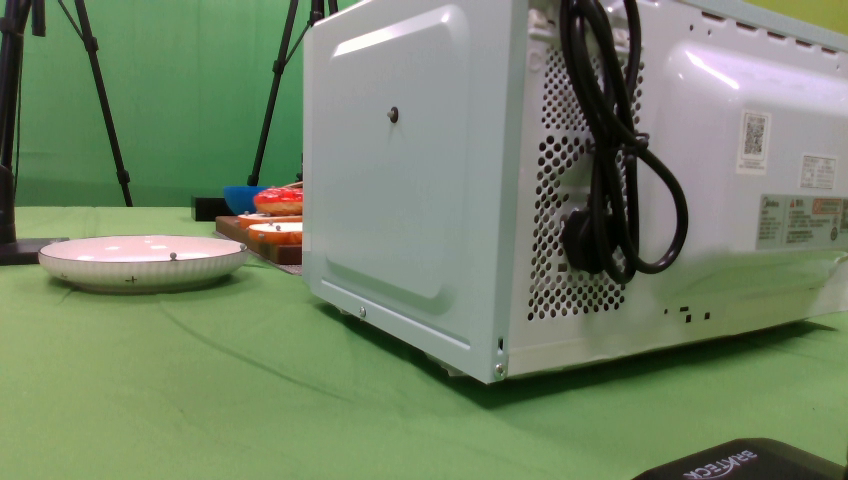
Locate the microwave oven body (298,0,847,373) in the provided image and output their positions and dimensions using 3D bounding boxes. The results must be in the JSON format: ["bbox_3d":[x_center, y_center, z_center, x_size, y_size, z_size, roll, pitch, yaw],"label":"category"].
[{"bbox_3d":[0.151,-0.055,0.542,0.444,0.260,0.324,-2,7,-33],"label":"microwave oven body"}]

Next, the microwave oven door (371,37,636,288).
[{"bbox_3d":[0.109,-0.080,0.686,0.358,0.243,0.039,-2,9,-33],"label":"microwave oven door"}]

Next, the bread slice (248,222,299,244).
[{"bbox_3d":[-0.174,-0.012,0.844,0.135,0.018,0.106,-6,10,-44],"label":"bread slice"}]

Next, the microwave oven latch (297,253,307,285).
[{"bbox_3d":[-0.082,0.027,0.582,0.079,0.029,0.030,-1,7,-32],"label":"microwave oven latch"}]

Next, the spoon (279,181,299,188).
[{"bbox_3d":[-0.301,-0.101,1.260,0.041,0.021,0.194,13,30,33],"label":"spoon"}]

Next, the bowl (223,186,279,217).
[{"bbox_3d":[-0.330,-0.068,1.230,0.151,0.077,0.151,3,7,0],"label":"bowl"}]

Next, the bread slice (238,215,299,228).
[{"bbox_3d":[-0.232,-0.031,0.986,0.132,0.019,0.104,-1,6,-34],"label":"bread slice"}]

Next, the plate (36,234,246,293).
[{"bbox_3d":[-0.305,0.026,0.668,0.208,0.039,0.207,3,7,0],"label":"plate"}]

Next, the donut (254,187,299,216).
[{"bbox_3d":[-0.227,-0.063,0.990,0.099,0.048,0.099,0,8,0],"label":"donut"}]
